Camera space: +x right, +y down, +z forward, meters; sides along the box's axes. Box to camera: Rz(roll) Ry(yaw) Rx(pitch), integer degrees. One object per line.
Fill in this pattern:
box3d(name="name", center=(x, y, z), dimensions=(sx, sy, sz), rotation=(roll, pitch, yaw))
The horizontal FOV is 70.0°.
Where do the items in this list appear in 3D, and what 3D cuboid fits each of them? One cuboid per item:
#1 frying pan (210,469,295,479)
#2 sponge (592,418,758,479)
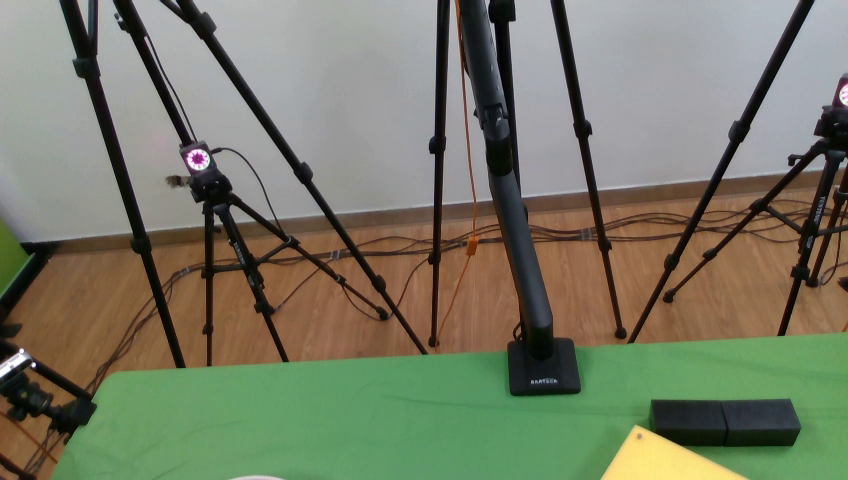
box3d(name="frying pan", center=(-0.264, 0.526, 0.758), dimensions=(0.307, 0.103, 0.483), rotation=(-9, 33, 4))
box3d(name="sponge", center=(0.355, 0.351, 0.843), dimensions=(0.205, 0.061, 0.118), rotation=(21, 49, 34))
